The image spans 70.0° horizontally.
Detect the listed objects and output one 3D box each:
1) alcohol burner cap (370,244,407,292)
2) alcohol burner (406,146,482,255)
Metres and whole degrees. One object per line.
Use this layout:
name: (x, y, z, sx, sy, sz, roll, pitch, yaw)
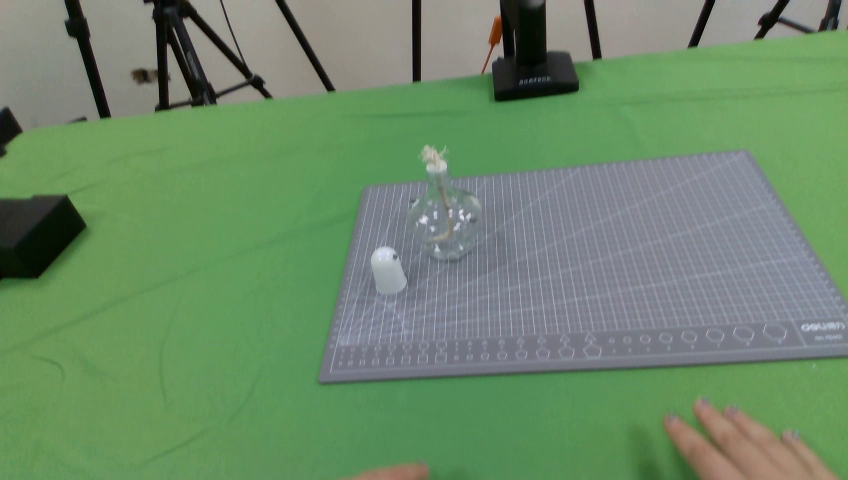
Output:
alcohol burner cap: (-0.036, 0.024, 0.593, 0.034, 0.048, 0.033, -6, 41, 6)
alcohol burner: (0.019, -0.043, 0.603, 0.078, 0.120, 0.077, -5, 41, 5)
